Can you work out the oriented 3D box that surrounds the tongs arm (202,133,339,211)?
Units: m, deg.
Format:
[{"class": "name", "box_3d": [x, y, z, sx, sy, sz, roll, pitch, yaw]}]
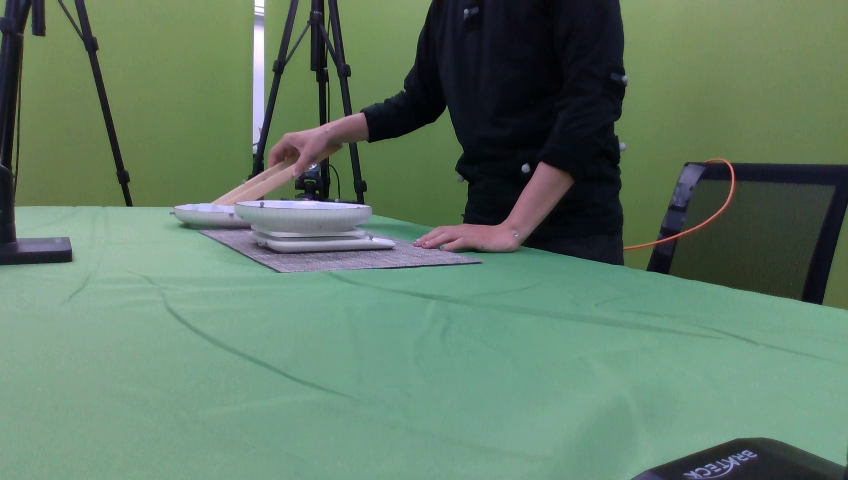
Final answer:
[{"class": "tongs arm", "box_3d": [-0.314, -0.146, 1.303, 0.050, 0.026, 0.386, 2, 31, 35]}]

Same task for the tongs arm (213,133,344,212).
[{"class": "tongs arm", "box_3d": [-0.293, -0.145, 1.287, 0.028, 0.028, 0.388, 0, 30, 40]}]

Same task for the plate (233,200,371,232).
[{"class": "plate", "box_3d": [-0.188, -0.039, 0.939, 0.209, 0.038, 0.209, 2, 7, 0]}]

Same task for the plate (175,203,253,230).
[{"class": "plate", "box_3d": [-0.380, -0.047, 1.199, 0.208, 0.039, 0.207, 2, 7, 0]}]

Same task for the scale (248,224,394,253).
[{"class": "scale", "box_3d": [-0.162, -0.006, 0.954, 0.202, 0.031, 0.148, -2, 8, -32]}]
